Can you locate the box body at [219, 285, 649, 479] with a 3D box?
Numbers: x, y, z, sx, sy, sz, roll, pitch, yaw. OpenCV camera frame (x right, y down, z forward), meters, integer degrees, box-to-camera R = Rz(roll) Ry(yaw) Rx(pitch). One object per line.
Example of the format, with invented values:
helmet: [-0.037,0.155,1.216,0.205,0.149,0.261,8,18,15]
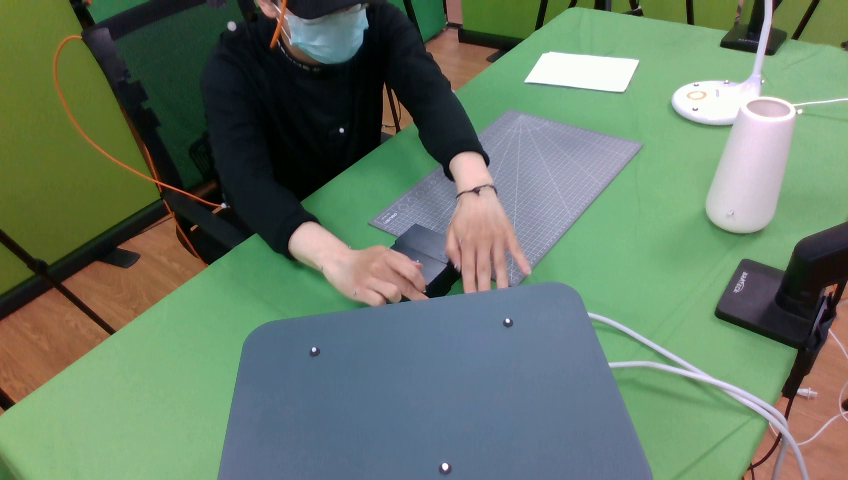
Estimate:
box body: [0.005,0.210,0.618,0.364,0.161,0.252,-8,40,-1]

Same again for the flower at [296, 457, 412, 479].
flower: [0.017,0.270,0.655,0.360,0.038,0.044,3,18,21]

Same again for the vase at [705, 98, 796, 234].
vase: [0.480,-0.104,0.889,0.098,0.201,0.097,-4,42,4]

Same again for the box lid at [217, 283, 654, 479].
box lid: [-0.004,0.154,0.571,0.372,0.015,0.261,-8,40,-1]

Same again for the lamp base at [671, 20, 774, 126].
lamp base: [0.581,-0.332,1.154,0.179,0.181,0.160,2,41,7]

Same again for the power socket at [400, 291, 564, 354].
power socket: [0.079,0.111,0.823,0.227,0.033,0.072,-5,41,1]

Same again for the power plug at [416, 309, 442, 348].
power plug: [0.004,0.121,0.787,0.035,0.053,0.072,2,46,8]
